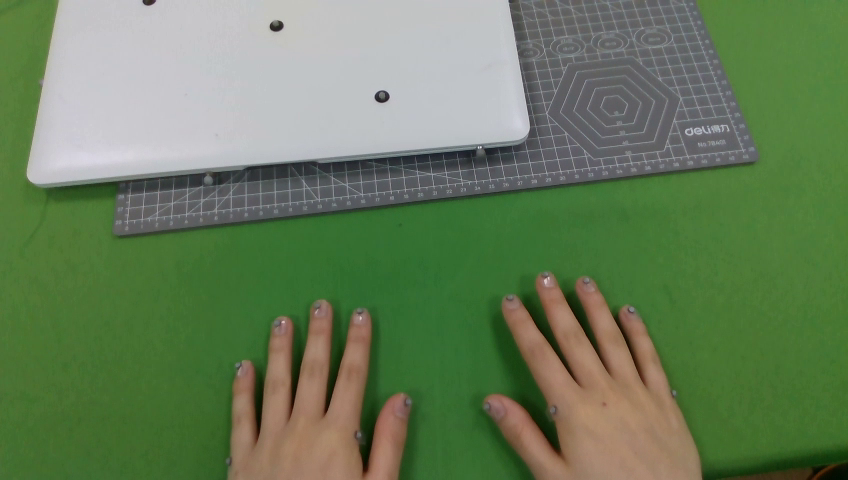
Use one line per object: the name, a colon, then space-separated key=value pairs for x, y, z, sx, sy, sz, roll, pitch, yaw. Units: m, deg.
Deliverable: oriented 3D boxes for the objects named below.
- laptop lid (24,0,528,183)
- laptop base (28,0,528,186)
laptop lid: x=-0.111 y=-0.161 z=0.459 sx=0.357 sy=0.013 sz=0.240 roll=-4 pitch=68 yaw=0
laptop base: x=-0.111 y=-0.157 z=0.471 sx=0.354 sy=0.023 sz=0.233 roll=-5 pitch=69 yaw=-1
